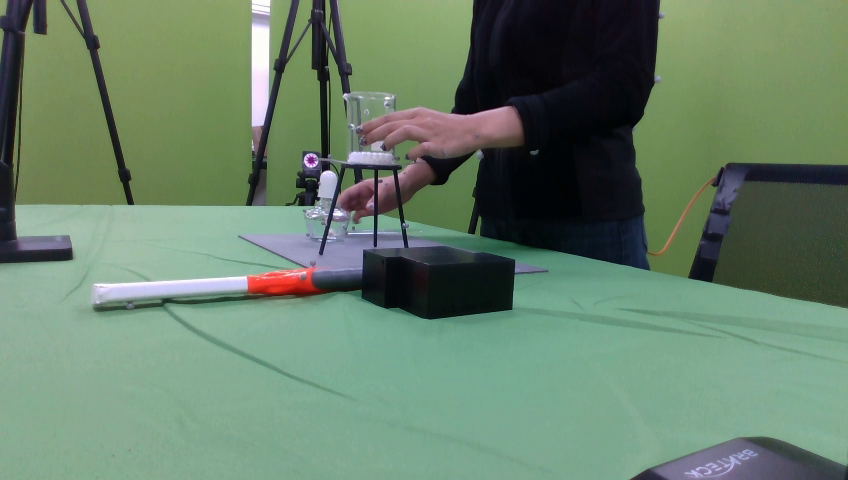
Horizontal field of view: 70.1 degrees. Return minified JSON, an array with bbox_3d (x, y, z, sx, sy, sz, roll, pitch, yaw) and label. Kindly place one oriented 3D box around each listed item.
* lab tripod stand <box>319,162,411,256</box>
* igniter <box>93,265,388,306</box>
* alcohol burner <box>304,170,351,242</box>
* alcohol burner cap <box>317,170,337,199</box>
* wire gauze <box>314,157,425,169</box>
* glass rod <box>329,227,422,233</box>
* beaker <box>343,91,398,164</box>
[{"bbox_3d":[-0.081,-0.047,0.879,0.148,0.131,0.148,2,9,0],"label":"lab tripod stand"},{"bbox_3d":[-0.164,0.042,0.589,0.278,0.025,0.057,-2,-7,-31],"label":"igniter"},{"bbox_3d":[-0.161,-0.057,1.008,0.078,0.119,0.078,1,9,0],"label":"alcohol burner"},{"bbox_3d":[-0.161,-0.093,1.004,0.034,0.048,0.034,5,4,0],"label":"alcohol burner cap"},{"bbox_3d":[-0.080,-0.112,0.869,0.122,0.011,0.124,-6,12,-35],"label":"wire gauze"},{"bbox_3d":[-0.087,-0.020,1.148,0.201,0.008,0.008,-3,9,-33],"label":"glass rod"},{"bbox_3d":[-0.078,-0.160,0.867,0.084,0.100,0.073,-5,10,-35],"label":"beaker"}]
